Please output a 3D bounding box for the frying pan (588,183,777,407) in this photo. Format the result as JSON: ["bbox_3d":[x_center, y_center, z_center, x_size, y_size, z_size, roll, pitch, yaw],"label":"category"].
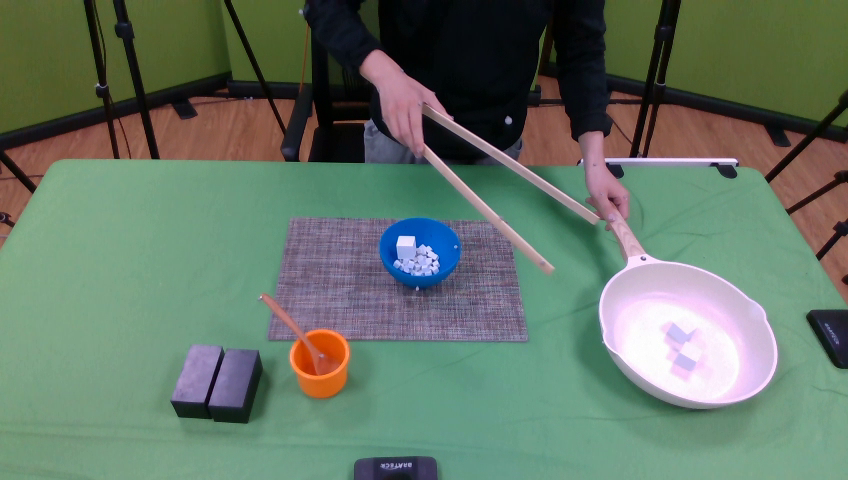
[{"bbox_3d":[0.412,0.079,1.096,0.307,0.103,0.484,-9,56,-14],"label":"frying pan"}]

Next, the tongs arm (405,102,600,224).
[{"bbox_3d":[0.132,-0.136,1.043,0.387,0.028,0.028,33,67,9],"label":"tongs arm"}]

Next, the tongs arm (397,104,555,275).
[{"bbox_3d":[0.083,-0.091,1.010,0.383,0.026,0.051,44,65,14],"label":"tongs arm"}]

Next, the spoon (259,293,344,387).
[{"bbox_3d":[-0.191,0.155,0.947,0.021,0.194,0.041,-13,27,50],"label":"spoon"}]

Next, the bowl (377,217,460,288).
[{"bbox_3d":[-0.011,0.036,1.118,0.151,0.077,0.150,2,46,-2],"label":"bowl"}]
